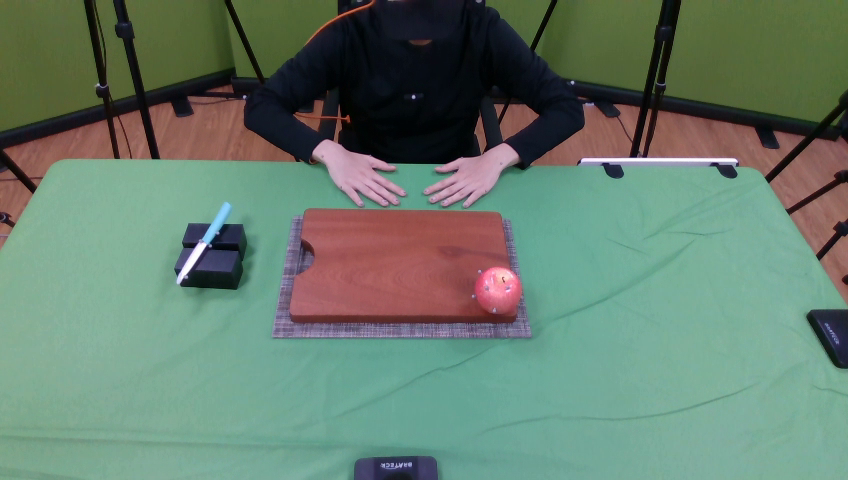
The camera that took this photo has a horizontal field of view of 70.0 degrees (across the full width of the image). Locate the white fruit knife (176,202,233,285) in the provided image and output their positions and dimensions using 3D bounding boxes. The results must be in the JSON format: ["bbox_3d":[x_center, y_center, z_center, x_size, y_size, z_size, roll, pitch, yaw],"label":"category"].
[{"bbox_3d":[-0.397,0.003,1.102,0.027,0.016,0.206,-5,44,24],"label":"white fruit knife"}]

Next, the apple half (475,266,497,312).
[{"bbox_3d":[0.104,0.085,1.045,0.033,0.081,0.081,9,46,1],"label":"apple half"}]

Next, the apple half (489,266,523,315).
[{"bbox_3d":[0.142,0.091,1.043,0.053,0.075,0.080,10,44,1],"label":"apple half"}]
